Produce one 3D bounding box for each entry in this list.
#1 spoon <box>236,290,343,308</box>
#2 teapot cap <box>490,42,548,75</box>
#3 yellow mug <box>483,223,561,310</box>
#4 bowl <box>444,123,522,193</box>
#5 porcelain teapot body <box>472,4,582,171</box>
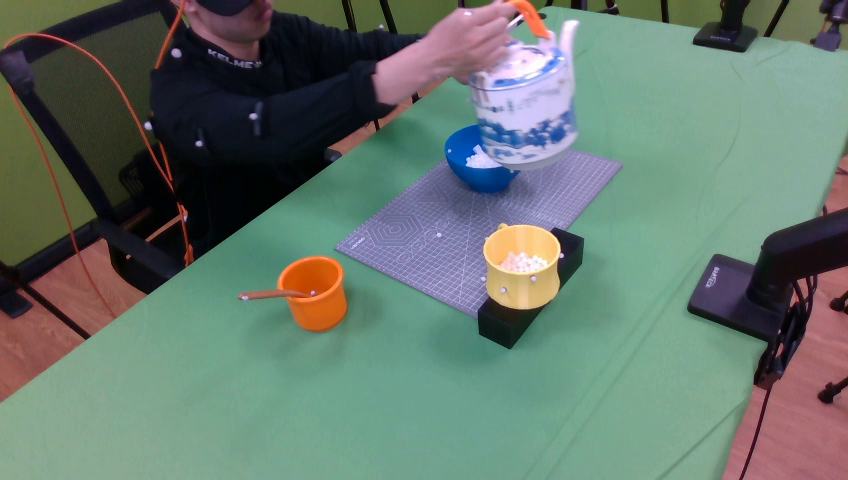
[{"bbox_3d":[-0.176,0.076,0.808,0.041,0.195,0.021,23,93,30],"label":"spoon"},{"bbox_3d":[0.134,-0.257,0.859,0.085,0.044,0.085,-11,33,8],"label":"teapot cap"},{"bbox_3d":[0.125,0.025,0.811,0.100,0.064,0.130,-16,39,-10],"label":"yellow mug"},{"bbox_3d":[0.112,-0.136,1.063,0.151,0.077,0.150,-4,41,4],"label":"bowl"},{"bbox_3d":[0.165,-0.241,0.892,0.206,0.226,0.144,-36,38,-25],"label":"porcelain teapot body"}]
